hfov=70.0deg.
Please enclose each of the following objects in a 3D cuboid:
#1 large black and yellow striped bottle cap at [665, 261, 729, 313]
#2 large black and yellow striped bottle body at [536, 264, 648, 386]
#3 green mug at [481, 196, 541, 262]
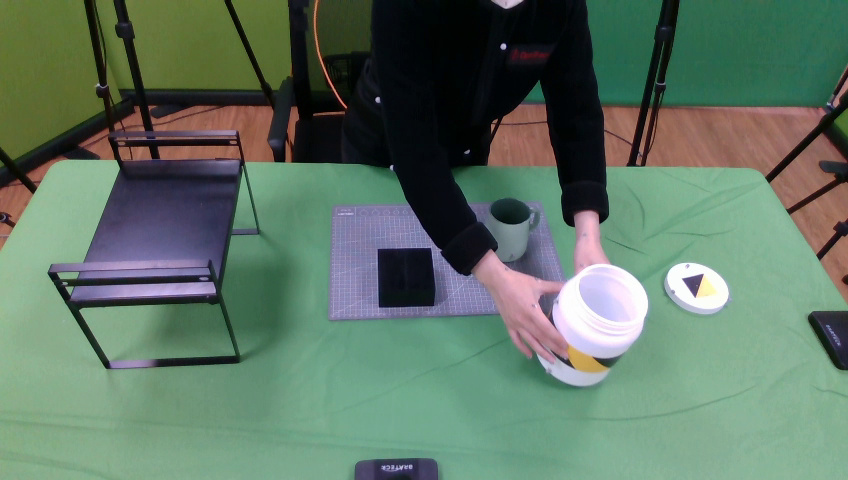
[{"bbox_3d":[0.519,0.088,1.152,0.115,0.019,0.114,2,47,-2],"label":"large black and yellow striped bottle cap"},{"bbox_3d":[0.261,0.134,0.949,0.131,0.185,0.130,5,51,-6],"label":"large black and yellow striped bottle body"},{"bbox_3d":[0.174,-0.026,1.172,0.125,0.105,0.092,-22,51,-23],"label":"green mug"}]
